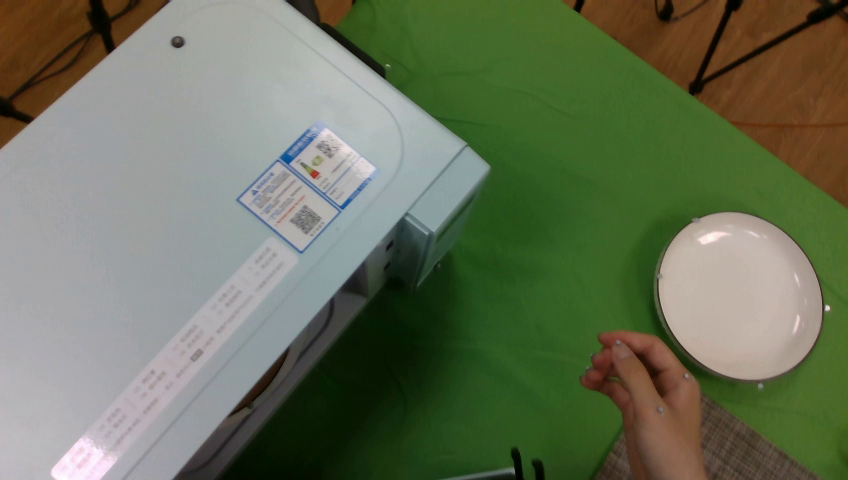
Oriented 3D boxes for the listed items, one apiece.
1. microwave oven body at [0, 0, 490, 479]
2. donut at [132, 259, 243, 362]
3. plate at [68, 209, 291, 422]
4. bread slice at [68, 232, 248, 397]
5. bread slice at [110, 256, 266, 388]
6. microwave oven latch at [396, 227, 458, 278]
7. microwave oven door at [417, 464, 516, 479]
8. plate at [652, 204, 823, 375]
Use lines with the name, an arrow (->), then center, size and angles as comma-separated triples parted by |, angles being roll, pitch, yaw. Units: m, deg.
microwave oven body -> -0.213, 0.022, 0.570 | 0.325, 0.261, 0.441 | 39, 76, 5
donut -> -0.224, 0.067, 0.577 | 0.099, 0.048, 0.098 | 5, 74, -18
plate -> -0.237, 0.073, 0.604 | 0.209, 0.038, 0.208 | 1, 79, -6
bread slice -> -0.232, 0.057, 0.554 | 0.134, 0.018, 0.107 | -42, 91, -20
bread slice -> -0.243, 0.086, 0.617 | 0.131, 0.019, 0.104 | -32, 81, -33
microwave oven latch -> 0.004, 0.006, 0.694 | 0.079, 0.029, 0.030 | -44, 84, -13
microwave oven door -> -0.065, 0.249, 0.521 | 0.356, 0.244, 0.039 | -7, 75, -7
plate -> 0.373, 0.059, 0.736 | 0.208, 0.039, 0.206 | 1, 76, -5
